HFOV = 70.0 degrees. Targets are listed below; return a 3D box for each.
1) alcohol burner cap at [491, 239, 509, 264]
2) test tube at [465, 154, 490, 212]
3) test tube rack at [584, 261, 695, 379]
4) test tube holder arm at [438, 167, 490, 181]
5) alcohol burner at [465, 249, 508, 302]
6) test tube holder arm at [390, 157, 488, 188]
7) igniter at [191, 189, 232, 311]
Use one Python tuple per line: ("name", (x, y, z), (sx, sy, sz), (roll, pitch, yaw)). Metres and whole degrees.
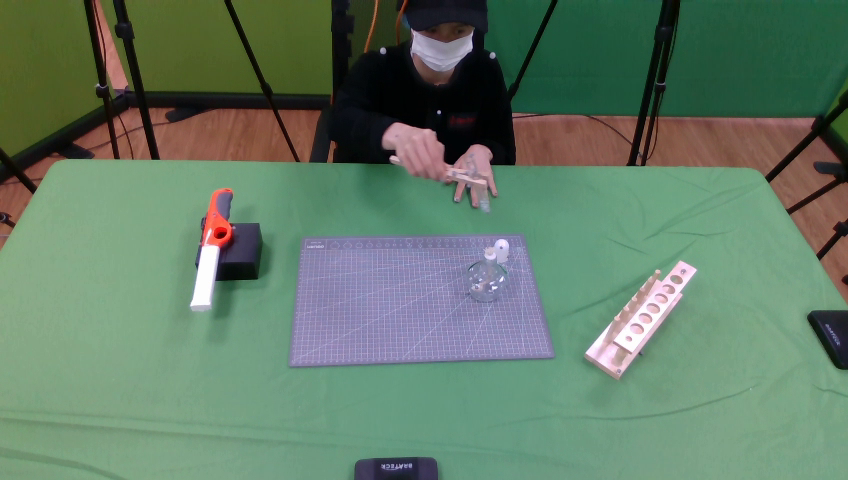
("alcohol burner cap", (0.150, 0.020, 1.174), (0.034, 0.048, 0.033), (2, 46, -2))
("test tube", (0.089, -0.090, 0.995), (0.017, 0.151, 0.017), (-8, 58, 13))
("test tube rack", (0.380, 0.127, 1.062), (0.066, 0.085, 0.242), (34, 53, 26))
("test tube holder arm", (0.064, -0.108, 0.989), (0.087, 0.015, 0.010), (8, 60, 18))
("alcohol burner", (0.114, 0.057, 1.085), (0.078, 0.120, 0.077), (2, 48, -2))
("test tube holder arm", (0.022, -0.113, 1.002), (0.178, 0.015, 0.013), (15, 62, 22))
("igniter", (-0.381, 0.008, 1.092), (0.057, 0.025, 0.274), (-1, 50, -7))
